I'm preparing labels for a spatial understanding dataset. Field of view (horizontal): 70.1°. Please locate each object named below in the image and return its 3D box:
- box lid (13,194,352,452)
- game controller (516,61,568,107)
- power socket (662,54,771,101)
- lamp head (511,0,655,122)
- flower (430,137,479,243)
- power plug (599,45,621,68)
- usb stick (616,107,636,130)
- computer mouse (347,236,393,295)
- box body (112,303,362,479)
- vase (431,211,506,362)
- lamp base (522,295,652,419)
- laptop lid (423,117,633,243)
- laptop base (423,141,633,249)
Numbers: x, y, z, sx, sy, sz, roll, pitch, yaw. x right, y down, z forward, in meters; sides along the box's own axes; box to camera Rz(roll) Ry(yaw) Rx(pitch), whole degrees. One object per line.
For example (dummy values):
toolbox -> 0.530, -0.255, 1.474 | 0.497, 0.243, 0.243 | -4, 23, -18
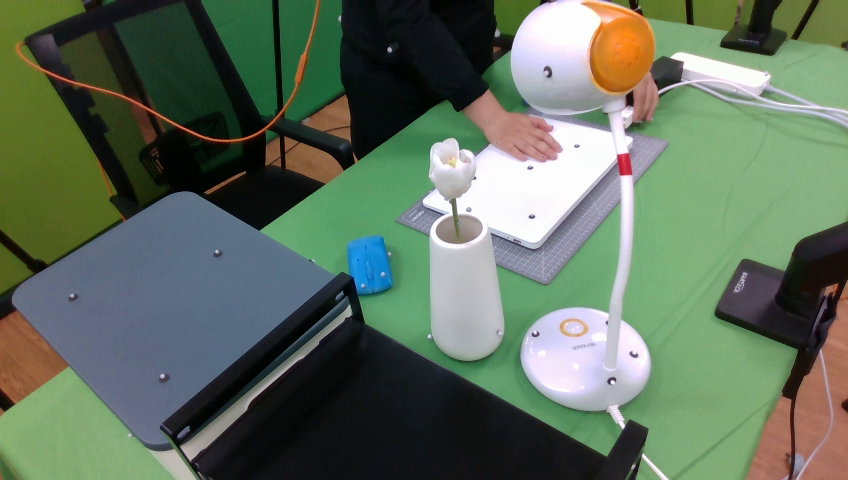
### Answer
box lid -> -0.291, 0.067, 0.717 | 0.368, 0.015, 0.264 | 25, 50, 33
game controller -> 0.260, -0.351, 1.336 | 0.097, 0.052, 0.154 | -4, 41, 2
power socket -> 0.615, -0.348, 1.285 | 0.072, 0.033, 0.225 | -37, 49, -28
lamp head -> 0.155, -0.168, 0.563 | 0.113, 0.113, 0.122 | -18, 23, -12
flower -> 0.041, 0.011, 0.691 | 0.044, 0.363, 0.038 | 16, 63, 14
power plug -> 0.437, -0.421, 1.412 | 0.053, 0.035, 0.072 | -16, 75, -46
usb stick -> 0.385, -0.231, 1.160 | 0.021, 0.027, 0.059 | 21, 49, 31
computer mouse -> -0.086, 0.035, 0.936 | 0.063, 0.041, 0.116 | -8, 44, -5
box body -> -0.285, 0.123, 0.766 | 0.361, 0.161, 0.255 | 25, 49, 33
vase -> 0.054, 0.062, 0.757 | 0.098, 0.201, 0.097 | -3, 40, 3
lamp base -> 0.201, 0.095, 0.710 | 0.161, 0.181, 0.177 | -16, 43, -10
laptop lid -> 0.191, -0.125, 1.082 | 0.239, 0.013, 0.358 | 22, 48, 35
laptop base -> 0.194, -0.116, 1.087 | 0.233, 0.023, 0.355 | 20, 47, 34
